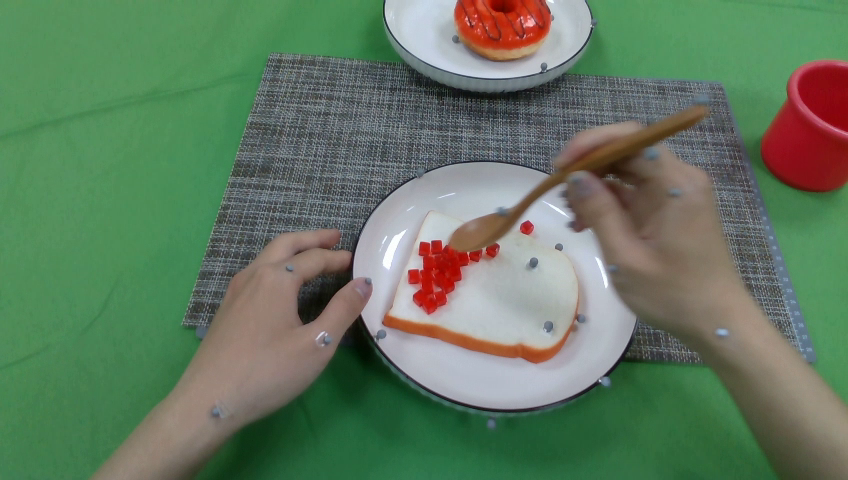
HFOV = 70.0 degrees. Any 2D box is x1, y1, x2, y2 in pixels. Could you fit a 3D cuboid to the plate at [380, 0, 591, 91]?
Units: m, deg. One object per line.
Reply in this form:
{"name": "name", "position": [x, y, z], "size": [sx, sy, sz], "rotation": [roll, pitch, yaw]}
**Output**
{"name": "plate", "position": [0.060, -0.216, 0.610], "size": [0.208, 0.039, 0.205], "rotation": [2, 54, -2]}

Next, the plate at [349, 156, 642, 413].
{"name": "plate", "position": [0.050, 0.027, 0.446], "size": [0.209, 0.038, 0.207], "rotation": [1, 57, -1]}

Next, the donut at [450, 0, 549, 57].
{"name": "donut", "position": [0.075, -0.221, 0.600], "size": [0.099, 0.048, 0.098], "rotation": [2, 57, -2]}

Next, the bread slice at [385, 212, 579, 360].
{"name": "bread slice", "position": [0.048, 0.032, 0.447], "size": [0.131, 0.019, 0.104], "rotation": [13, 57, 9]}

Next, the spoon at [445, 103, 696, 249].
{"name": "spoon", "position": [0.073, -0.032, 0.359], "size": [0.022, 0.194, 0.041], "rotation": [46, 53, -7]}
